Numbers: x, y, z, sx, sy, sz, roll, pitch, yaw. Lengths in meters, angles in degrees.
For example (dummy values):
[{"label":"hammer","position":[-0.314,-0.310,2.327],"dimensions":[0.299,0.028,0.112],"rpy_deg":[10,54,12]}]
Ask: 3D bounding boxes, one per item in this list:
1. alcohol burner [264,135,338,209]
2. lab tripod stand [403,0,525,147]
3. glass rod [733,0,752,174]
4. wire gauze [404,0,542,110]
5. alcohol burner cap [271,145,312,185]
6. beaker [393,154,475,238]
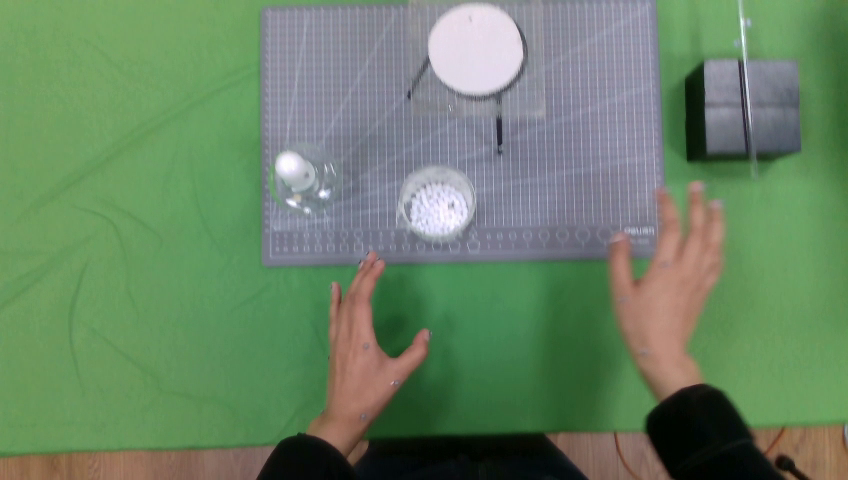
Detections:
[{"label":"alcohol burner","position":[-0.129,-0.072,0.621],"dimensions":[0.078,0.119,0.078],"rpy_deg":[0,87,0]},{"label":"lab tripod stand","position":[0.049,-0.177,0.618],"dimensions":[0.148,0.132,0.148],"rpy_deg":[0,84,1]},{"label":"glass rod","position":[0.334,-0.168,0.634],"dimensions":[0.008,0.008,0.199],"rpy_deg":[-3,88,0]},{"label":"wire gauze","position":[0.045,-0.178,0.551],"dimensions":[0.125,0.011,0.121],"rpy_deg":[-1,87,0]},{"label":"alcohol burner cap","position":[-0.130,-0.074,0.586],"dimensions":[0.034,0.048,0.033],"rpy_deg":[-1,81,4]},{"label":"beaker","position":[0.009,-0.039,0.626],"dimensions":[0.084,0.100,0.074],"rpy_deg":[-29,86,-1]}]
